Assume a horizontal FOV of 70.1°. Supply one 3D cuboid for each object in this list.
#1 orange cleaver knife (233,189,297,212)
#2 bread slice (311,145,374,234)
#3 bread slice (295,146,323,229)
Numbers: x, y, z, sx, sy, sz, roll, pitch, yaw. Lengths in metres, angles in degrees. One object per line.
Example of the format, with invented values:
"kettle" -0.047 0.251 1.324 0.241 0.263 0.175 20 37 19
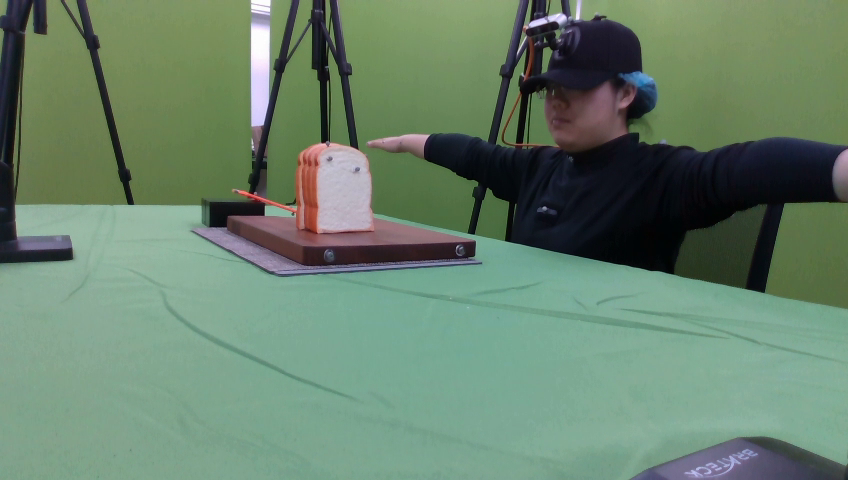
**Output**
"orange cleaver knife" -0.279 -0.066 1.219 0.212 0.012 0.077 19 -4 -21
"bread slice" -0.127 -0.076 0.919 0.107 0.134 0.018 -8 7 -41
"bread slice" -0.157 -0.082 0.959 0.105 0.131 0.019 -1 -2 -43
